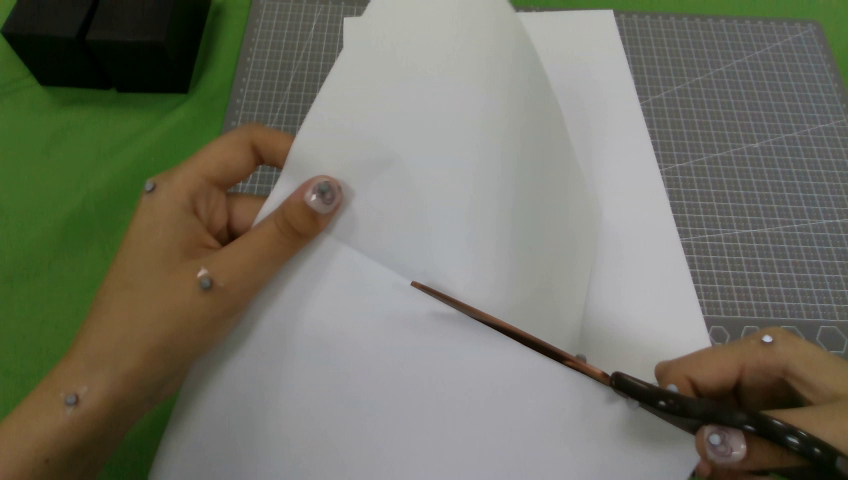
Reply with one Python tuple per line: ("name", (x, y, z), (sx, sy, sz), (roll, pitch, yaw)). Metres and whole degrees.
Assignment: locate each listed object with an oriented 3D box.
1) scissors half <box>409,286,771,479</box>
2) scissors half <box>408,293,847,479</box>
("scissors half", (0.071, 0.059, 0.254), (0.176, 0.040, 0.012), (28, 77, -10))
("scissors half", (0.072, 0.054, 0.232), (0.174, 0.040, 0.013), (21, 72, 16))
